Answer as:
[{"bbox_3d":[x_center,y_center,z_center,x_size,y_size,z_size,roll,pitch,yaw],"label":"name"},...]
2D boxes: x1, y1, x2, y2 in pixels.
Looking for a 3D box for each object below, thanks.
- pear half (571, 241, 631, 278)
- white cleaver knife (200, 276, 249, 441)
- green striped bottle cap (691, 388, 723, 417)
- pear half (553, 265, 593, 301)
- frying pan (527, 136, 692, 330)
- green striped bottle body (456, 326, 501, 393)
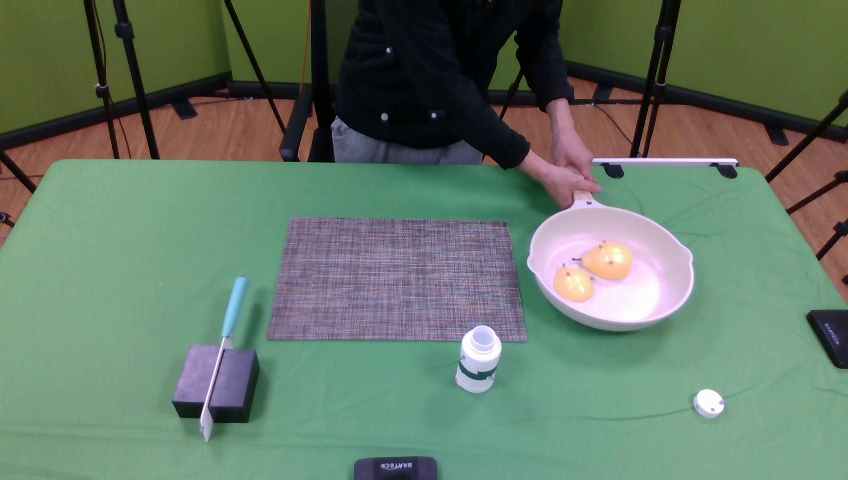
[{"bbox_3d":[0.340,0.030,1.163,0.110,0.056,0.076,2,40,6],"label":"pear half"},{"bbox_3d":[-0.321,0.177,0.972,0.021,0.066,0.284,6,48,-5],"label":"white cleaver knife"},{"bbox_3d":[0.460,0.263,0.984,0.044,0.020,0.044,3,46,-3],"label":"green striped bottle cap"},{"bbox_3d":[0.279,0.073,1.135,0.070,0.031,0.087,-12,51,-19],"label":"pear half"},{"bbox_3d":[0.329,-0.031,1.189,0.307,0.103,0.484,-3,54,-5],"label":"frying pan"},{"bbox_3d":[0.086,0.185,0.959,0.063,0.120,0.063,2,46,-2],"label":"green striped bottle body"}]
